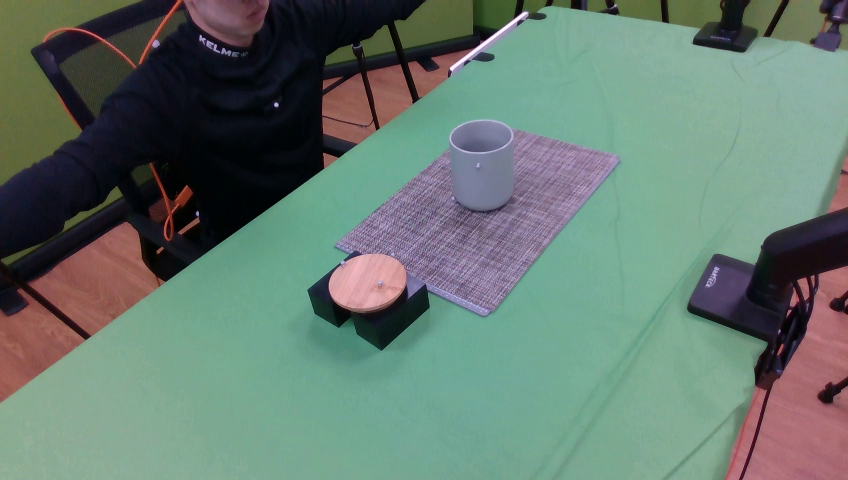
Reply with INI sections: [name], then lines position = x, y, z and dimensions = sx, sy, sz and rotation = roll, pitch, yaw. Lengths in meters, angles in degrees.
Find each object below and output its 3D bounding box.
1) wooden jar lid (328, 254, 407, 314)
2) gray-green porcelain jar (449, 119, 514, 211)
[wooden jar lid]
position = -0.077, 0.062, 0.832
dimensions = 0.108, 0.021, 0.108
rotation = -4, 39, 4
[gray-green porcelain jar]
position = 0.098, -0.120, 1.008
dimensions = 0.106, 0.127, 0.105
rotation = -4, 41, 4
